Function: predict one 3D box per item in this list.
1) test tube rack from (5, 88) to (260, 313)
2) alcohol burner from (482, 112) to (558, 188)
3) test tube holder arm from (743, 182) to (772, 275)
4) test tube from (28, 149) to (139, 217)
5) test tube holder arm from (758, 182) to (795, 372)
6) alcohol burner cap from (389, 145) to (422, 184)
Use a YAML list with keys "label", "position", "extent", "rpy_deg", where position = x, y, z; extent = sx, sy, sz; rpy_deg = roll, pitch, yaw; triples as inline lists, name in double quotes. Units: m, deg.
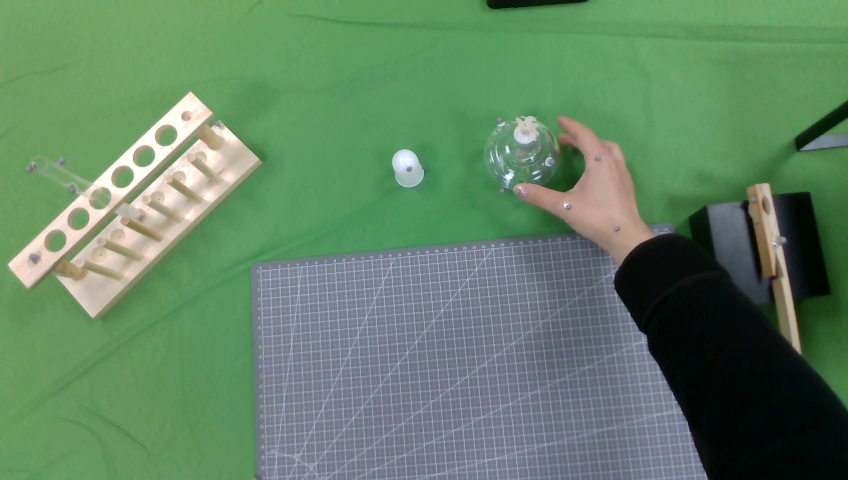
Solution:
- label: "test tube rack"
  position: [-0.292, -0.036, 0.626]
  extent: [0.066, 0.085, 0.242]
  rpy_deg: [44, 85, 10]
- label: "alcohol burner"
  position: [0.096, -0.095, 0.601]
  extent: [0.078, 0.119, 0.077]
  rpy_deg: [-1, 77, 5]
- label: "test tube holder arm"
  position: [0.316, -0.011, 0.571]
  extent: [0.010, 0.015, 0.087]
  rpy_deg: [-3, 80, -14]
- label: "test tube"
  position: [-0.319, -0.050, 0.580]
  extent: [0.017, 0.151, 0.017]
  rpy_deg: [-1, 75, 6]
- label: "test tube holder arm"
  position: [0.325, 0.033, 0.565]
  extent: [0.013, 0.015, 0.177]
  rpy_deg: [-2, 80, -14]
- label: "alcohol burner cap"
  position: [-0.020, -0.083, 0.641]
  extent: [0.034, 0.048, 0.033]
  rpy_deg: [-2, 75, 6]
